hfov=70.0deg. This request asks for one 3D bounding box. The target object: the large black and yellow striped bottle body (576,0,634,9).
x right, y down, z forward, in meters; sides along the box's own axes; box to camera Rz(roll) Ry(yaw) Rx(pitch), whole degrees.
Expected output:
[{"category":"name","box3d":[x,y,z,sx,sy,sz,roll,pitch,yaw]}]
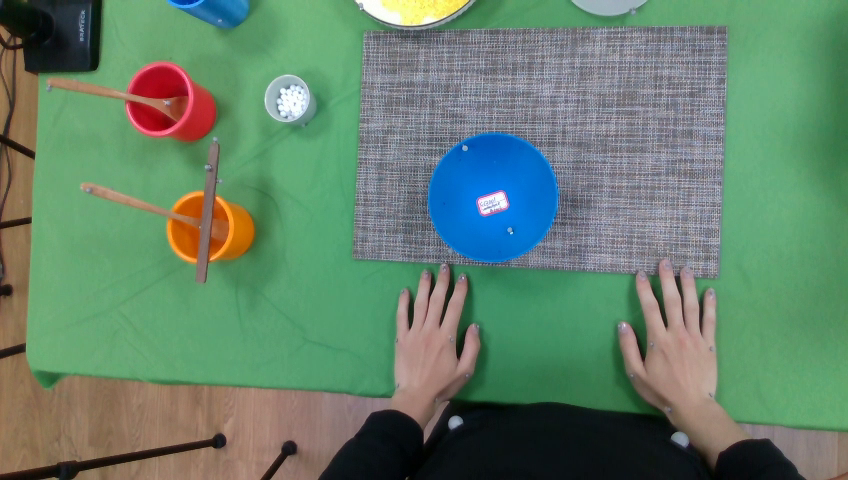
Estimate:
[{"category":"large black and yellow striped bottle body","box3d":[0.210,-0.350,0.659,0.130,0.184,0.130,0,88,10]}]

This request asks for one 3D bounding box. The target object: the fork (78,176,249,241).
[{"category":"fork","box3d":[-0.321,-0.040,0.763,0.209,0.018,0.028,21,95,-34]}]

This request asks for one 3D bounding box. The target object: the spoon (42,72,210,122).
[{"category":"spoon","box3d":[-0.377,-0.190,0.779,0.195,0.021,0.041,8,93,-33]}]

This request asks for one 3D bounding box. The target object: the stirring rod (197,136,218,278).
[{"category":"stirring rod","box3d":[-0.269,-0.041,0.751,0.014,0.006,0.176,4,90,12]}]

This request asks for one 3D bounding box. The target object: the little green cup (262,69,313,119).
[{"category":"little green cup","box3d":[-0.177,-0.189,0.797,0.061,0.039,0.061,0,89,11]}]

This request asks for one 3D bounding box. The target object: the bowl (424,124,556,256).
[{"category":"bowl","box3d":[0.081,-0.055,0.725,0.151,0.077,0.151,0,89,10]}]

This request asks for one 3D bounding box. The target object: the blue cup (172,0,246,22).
[{"category":"blue cup","box3d":[-0.282,-0.331,0.786,0.092,0.100,0.092,0,89,12]}]

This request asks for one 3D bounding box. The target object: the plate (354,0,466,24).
[{"category":"plate","box3d":[-0.012,-0.375,0.773,0.209,0.038,0.209,0,89,10]}]
